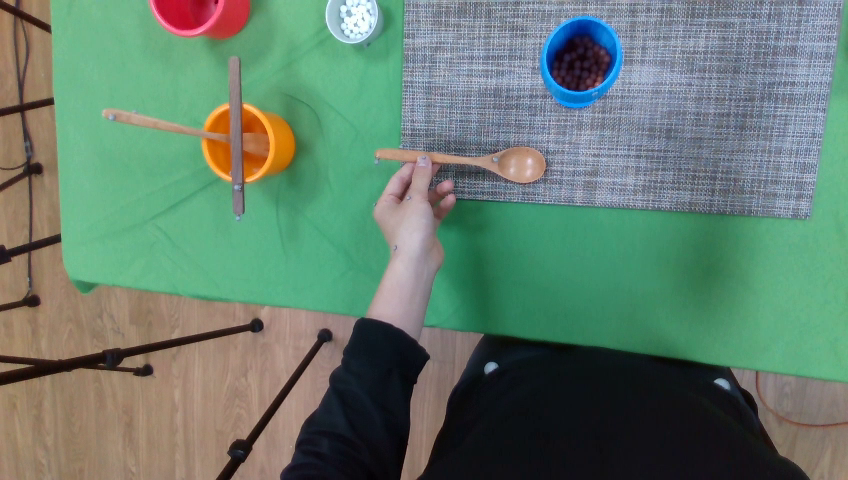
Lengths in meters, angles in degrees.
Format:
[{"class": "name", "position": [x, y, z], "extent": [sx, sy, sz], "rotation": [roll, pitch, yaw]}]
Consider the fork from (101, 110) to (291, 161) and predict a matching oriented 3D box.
[{"class": "fork", "position": [-0.255, -0.120, 0.697], "extent": [0.209, 0.018, 0.028], "rotation": [8, 112, -33]}]

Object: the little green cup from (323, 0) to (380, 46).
[{"class": "little green cup", "position": [-0.080, -0.251, 0.692], "extent": [0.061, 0.038, 0.062], "rotation": [2, 101, 13]}]

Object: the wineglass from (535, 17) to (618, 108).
[{"class": "wineglass", "position": [0.145, -0.165, 0.584], "extent": [0.073, 0.172, 0.074], "rotation": [2, 99, 13]}]

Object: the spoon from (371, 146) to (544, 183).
[{"class": "spoon", "position": [0.037, -0.091, 0.683], "extent": [0.194, 0.021, 0.042], "rotation": [4, 107, -3]}]

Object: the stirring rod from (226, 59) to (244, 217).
[{"class": "stirring rod", "position": [-0.214, -0.114, 0.686], "extent": [0.014, 0.006, 0.176], "rotation": [4, 101, 13]}]
